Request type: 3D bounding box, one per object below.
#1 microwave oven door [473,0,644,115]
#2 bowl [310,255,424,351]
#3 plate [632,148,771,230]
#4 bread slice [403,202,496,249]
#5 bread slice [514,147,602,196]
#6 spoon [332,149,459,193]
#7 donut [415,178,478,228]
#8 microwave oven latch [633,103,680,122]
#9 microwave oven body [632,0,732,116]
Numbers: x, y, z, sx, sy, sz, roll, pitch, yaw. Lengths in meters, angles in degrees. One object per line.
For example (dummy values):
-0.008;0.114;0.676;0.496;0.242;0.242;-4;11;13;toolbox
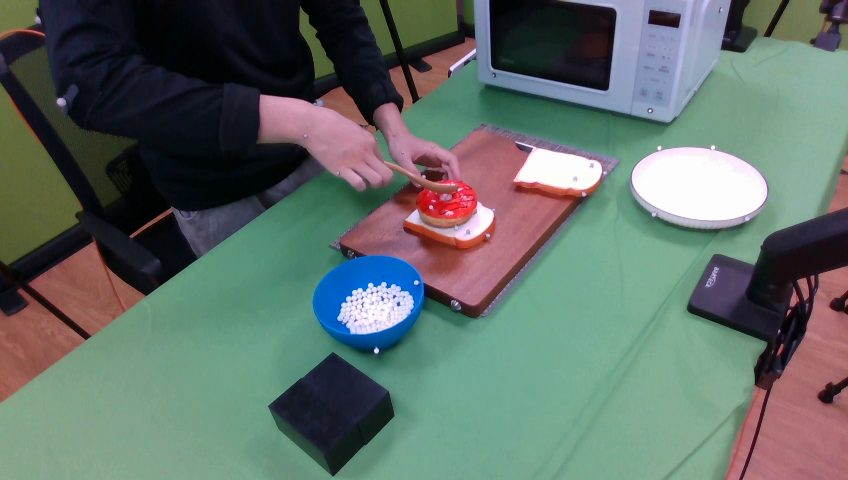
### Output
0.257;-0.396;1.199;0.353;0.245;0.039;21;48;29;microwave oven door
-0.072;0.098;0.821;0.151;0.077;0.150;-4;40;4;bowl
0.447;-0.081;0.988;0.207;0.039;0.206;-4;40;4;plate
0.048;-0.034;0.961;0.130;0.019;0.105;22;49;31;bread slice
0.233;-0.115;1.026;0.133;0.018;0.107;13;45;20;bread slice
-0.041;-0.102;0.890;0.194;0.021;0.041;20;0;-7;spoon
0.036;-0.058;0.944;0.099;0.048;0.098;-5;40;5;donut
0.444;-0.249;1.157;0.078;0.029;0.030;21;49;30;microwave oven latch
0.377;-0.462;1.267;0.438;0.261;0.327;21;48;30;microwave oven body
